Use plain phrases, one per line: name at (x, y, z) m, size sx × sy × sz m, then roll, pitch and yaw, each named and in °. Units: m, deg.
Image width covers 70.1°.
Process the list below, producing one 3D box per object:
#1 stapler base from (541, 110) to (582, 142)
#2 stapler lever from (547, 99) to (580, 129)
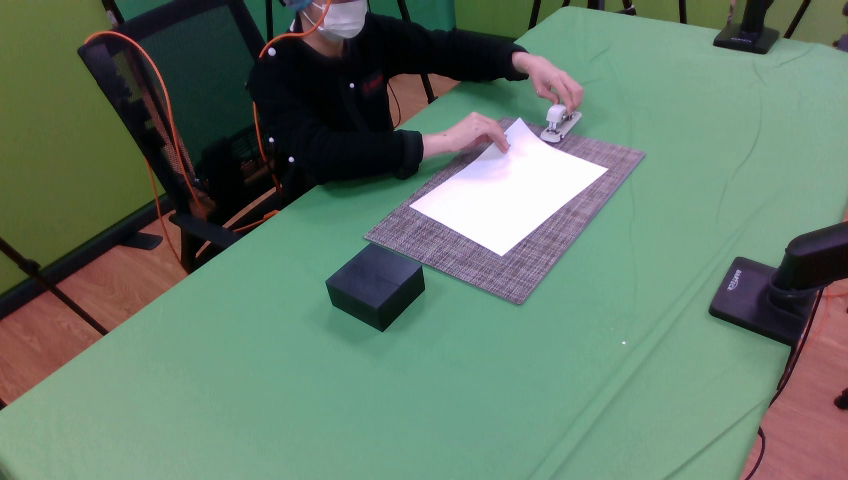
stapler base at (0.274, -0.234, 1.197) m, size 0.041 × 0.024 × 0.131 m, roll 22°, pitch 43°, yaw 24°
stapler lever at (0.273, -0.255, 1.183) m, size 0.026 × 0.040 × 0.118 m, roll 22°, pitch 42°, yaw 24°
